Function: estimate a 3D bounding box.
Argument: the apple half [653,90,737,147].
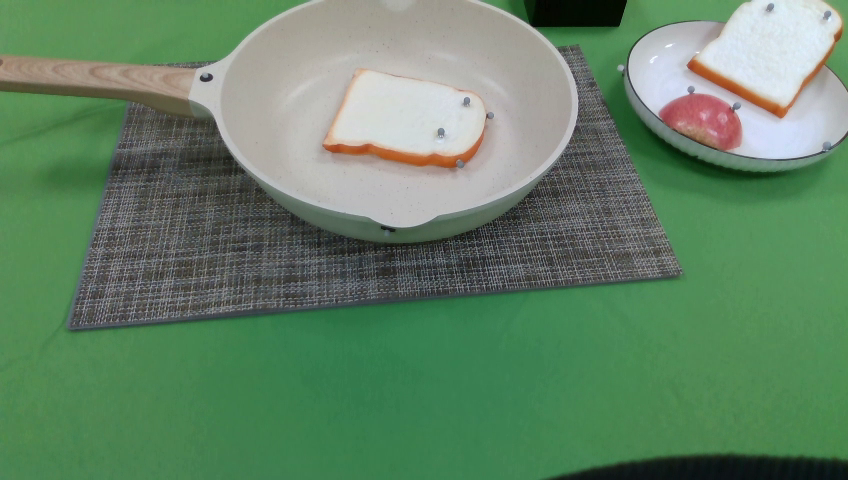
[{"bbox_3d":[0.244,-0.113,0.533,0.081,0.033,0.080,14,29,-8],"label":"apple half"}]

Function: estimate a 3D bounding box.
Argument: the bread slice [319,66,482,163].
[{"bbox_3d":[-0.016,-0.112,0.546,0.134,0.018,0.106,8,53,4],"label":"bread slice"}]

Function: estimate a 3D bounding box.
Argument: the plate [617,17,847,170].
[{"bbox_3d":[0.286,-0.138,0.578,0.208,0.039,0.205,1,52,-1],"label":"plate"}]

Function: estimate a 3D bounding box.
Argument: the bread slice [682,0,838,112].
[{"bbox_3d":[0.339,-0.200,0.602,0.104,0.019,0.131,37,80,22],"label":"bread slice"}]

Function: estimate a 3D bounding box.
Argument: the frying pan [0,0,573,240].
[{"bbox_3d":[-0.128,-0.120,0.499,0.489,0.103,0.303,5,51,-9],"label":"frying pan"}]
